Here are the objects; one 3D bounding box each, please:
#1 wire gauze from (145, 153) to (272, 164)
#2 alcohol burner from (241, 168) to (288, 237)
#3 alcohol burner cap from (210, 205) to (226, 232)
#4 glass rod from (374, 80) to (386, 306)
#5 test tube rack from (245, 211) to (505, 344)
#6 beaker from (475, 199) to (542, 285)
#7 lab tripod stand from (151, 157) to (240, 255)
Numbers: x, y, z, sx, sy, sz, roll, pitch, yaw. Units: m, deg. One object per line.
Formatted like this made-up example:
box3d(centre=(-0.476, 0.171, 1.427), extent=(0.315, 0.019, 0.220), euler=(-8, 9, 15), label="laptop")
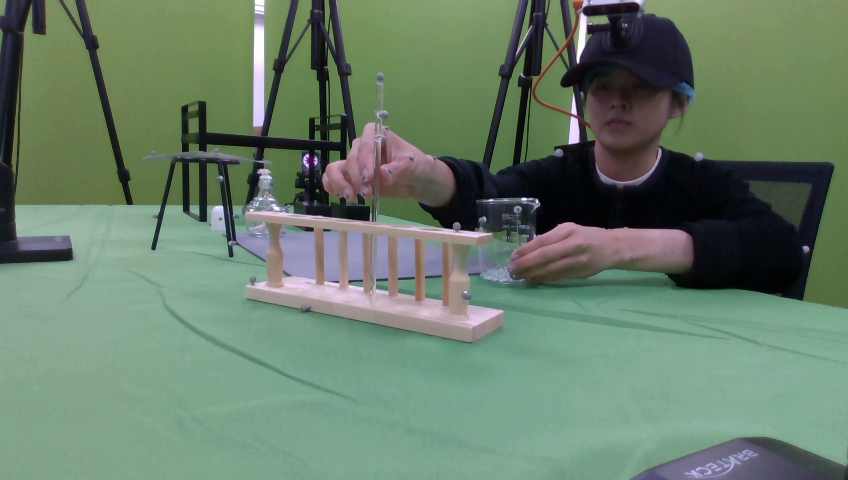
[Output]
box3d(centre=(-0.303, -0.117, 0.854), extent=(0.121, 0.011, 0.126), euler=(7, 8, 34), label="wire gauze")
box3d(centre=(-0.272, -0.065, 1.036), extent=(0.078, 0.119, 0.078), euler=(4, 5, 0), label="alcohol burner")
box3d(centre=(-0.376, -0.040, 1.107), extent=(0.034, 0.048, 0.034), euler=(2, 7, 0), label="alcohol burner cap")
box3d(centre=(-0.038, -0.039, 0.528), extent=(0.008, 0.199, 0.008), euler=(1, 2, 0), label="glass rod")
box3d(centre=(-0.049, 0.025, 0.547), extent=(0.241, 0.085, 0.067), euler=(7, 8, 29), label="test tube rack")
box3d(centre=(0.104, 0.001, 0.726), extent=(0.083, 0.100, 0.074), euler=(3, 7, 38), label="beaker")
box3d(centre=(-0.310, -0.052, 0.865), extent=(0.148, 0.131, 0.148), euler=(2, 6, 0), label="lab tripod stand")
